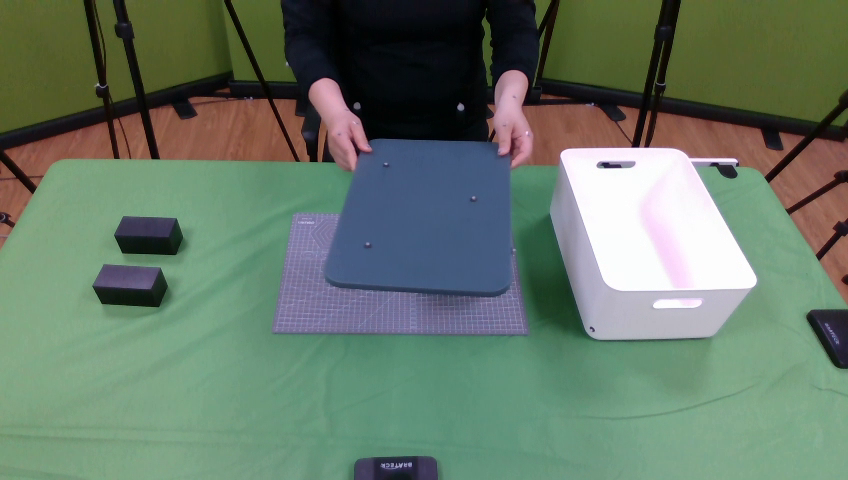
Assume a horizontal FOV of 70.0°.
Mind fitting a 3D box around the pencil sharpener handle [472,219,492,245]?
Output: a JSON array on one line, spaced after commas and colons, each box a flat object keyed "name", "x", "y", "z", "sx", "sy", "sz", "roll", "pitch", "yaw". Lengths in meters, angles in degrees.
[{"name": "pencil sharpener handle", "x": 0.104, "y": -0.022, "z": 1.145, "sx": 0.036, "sy": 0.068, "sz": 0.030, "roll": 10, "pitch": 44, "yaw": -11}]

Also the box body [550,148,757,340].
[{"name": "box body", "x": 0.395, "y": 0.003, "z": 1.127, "sx": 0.254, "sy": 0.161, "sz": 0.361, "roll": -1, "pitch": 46, "yaw": -5}]

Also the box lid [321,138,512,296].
[{"name": "box lid", "x": 0.002, "y": -0.052, "z": 0.940, "sx": 0.263, "sy": 0.015, "sz": 0.369, "roll": 3, "pitch": 41, "yaw": 4}]

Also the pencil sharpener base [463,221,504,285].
[{"name": "pencil sharpener base", "x": 0.107, "y": 0.023, "z": 1.118, "sx": 0.061, "sy": 0.107, "sz": 0.076, "roll": 1, "pitch": 45, "yaw": -2}]
